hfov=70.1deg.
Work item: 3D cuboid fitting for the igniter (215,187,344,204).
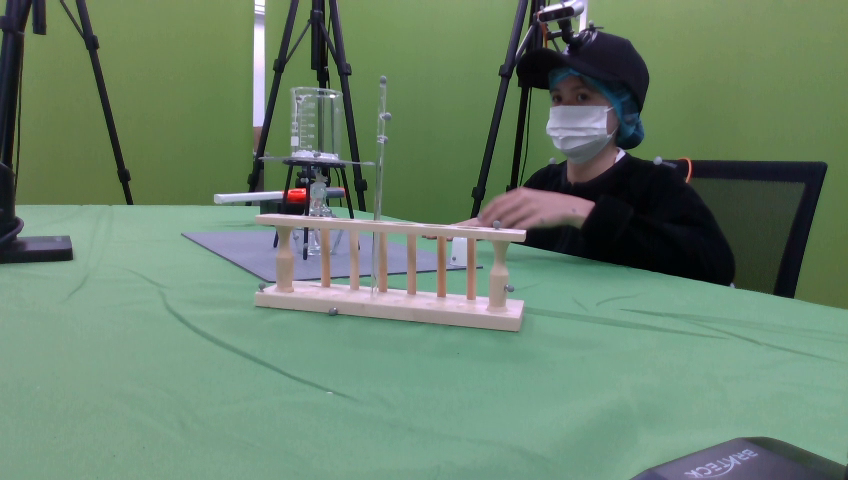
[{"bbox_3d":[-0.290,-0.093,1.256,0.278,0.025,0.057,-6,11,-35],"label":"igniter"}]

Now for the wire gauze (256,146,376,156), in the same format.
[{"bbox_3d":[-0.155,-0.128,0.871,0.124,0.011,0.122,2,7,36],"label":"wire gauze"}]

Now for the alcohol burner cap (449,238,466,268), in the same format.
[{"bbox_3d":[0.051,0.015,0.827,0.034,0.048,0.034,3,4,0],"label":"alcohol burner cap"}]

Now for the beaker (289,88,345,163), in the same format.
[{"bbox_3d":[-0.157,-0.160,0.862,0.083,0.100,0.074,7,7,34],"label":"beaker"}]

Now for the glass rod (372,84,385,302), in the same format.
[{"bbox_3d":[-0.041,-0.041,0.548,0.008,0.199,0.008,2,2,0],"label":"glass rod"}]

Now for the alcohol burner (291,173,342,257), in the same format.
[{"bbox_3d":[-0.155,-0.037,0.870,0.078,0.119,0.078,1,6,0],"label":"alcohol burner"}]

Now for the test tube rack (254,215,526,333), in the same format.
[{"bbox_3d":[-0.030,0.025,0.557,0.242,0.085,0.067,4,7,12],"label":"test tube rack"}]

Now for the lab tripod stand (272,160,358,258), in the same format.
[{"bbox_3d":[-0.159,-0.048,0.876,0.148,0.131,0.148,3,5,0],"label":"lab tripod stand"}]
